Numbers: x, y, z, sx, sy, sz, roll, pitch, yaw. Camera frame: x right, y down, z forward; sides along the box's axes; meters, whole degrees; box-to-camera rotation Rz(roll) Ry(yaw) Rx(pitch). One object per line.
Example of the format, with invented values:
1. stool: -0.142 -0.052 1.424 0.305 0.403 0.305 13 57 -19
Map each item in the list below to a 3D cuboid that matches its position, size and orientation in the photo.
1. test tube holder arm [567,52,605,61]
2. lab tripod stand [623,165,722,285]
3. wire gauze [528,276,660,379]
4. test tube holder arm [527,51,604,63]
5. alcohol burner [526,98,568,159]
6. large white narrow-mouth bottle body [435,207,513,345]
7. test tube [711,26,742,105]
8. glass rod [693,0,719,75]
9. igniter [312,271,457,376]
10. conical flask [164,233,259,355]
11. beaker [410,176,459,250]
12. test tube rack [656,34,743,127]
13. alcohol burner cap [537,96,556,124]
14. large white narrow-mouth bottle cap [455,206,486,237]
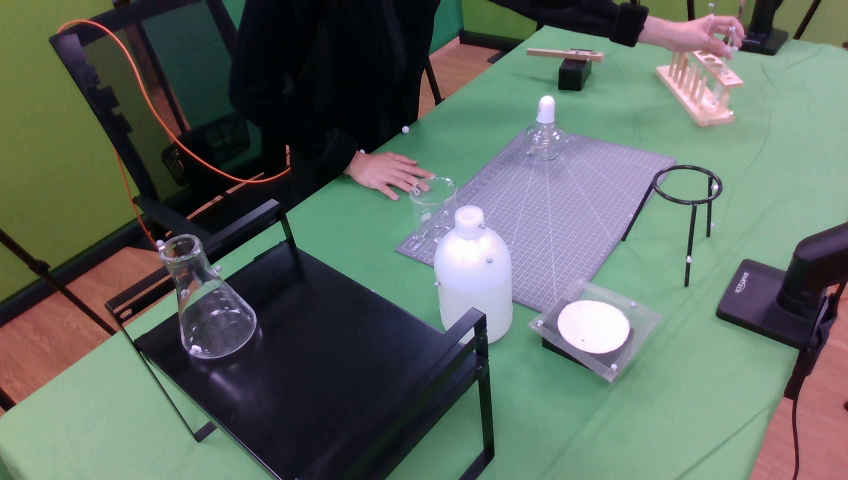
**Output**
1. test tube holder arm: 0.352 -0.402 1.325 0.087 0.015 0.010 15 40 31
2. lab tripod stand: 0.365 -0.030 0.874 0.148 0.132 0.147 -6 41 6
3. wire gauze: 0.214 0.103 0.763 0.124 0.011 0.122 30 52 35
4. test tube holder arm: 0.312 -0.409 1.344 0.177 0.015 0.013 15 39 30
5. alcohol burner: 0.228 -0.210 1.118 0.078 0.119 0.077 -5 43 5
6. large white narrow-mouth bottle body: 0.065 0.041 0.791 0.102 0.195 0.101 -4 41 4
7. test tube: 0.571 -0.327 1.143 0.017 0.150 0.017 1 34 0
8. glass rod: 0.561 -0.401 1.214 0.008 0.200 0.008 -1 49 2
9. igniter: -0.067 0.111 0.859 0.274 0.025 0.057 27 61 34
10. conical flask: -0.216 0.051 0.601 0.075 0.122 0.075 -4 40 4
11. beaker: 0.022 -0.041 0.963 0.073 0.101 0.084 28 51 35
12. test tube rack: 0.554 -0.330 1.233 0.067 0.085 0.241 -7 40 2
13. alcohol burner cap: 0.223 -0.237 1.095 0.034 0.048 0.033 -2 37 2
14. large white narrow-mouth bottle cap: 0.057 -0.023 0.734 0.038 0.024 0.037 -4 40 4
